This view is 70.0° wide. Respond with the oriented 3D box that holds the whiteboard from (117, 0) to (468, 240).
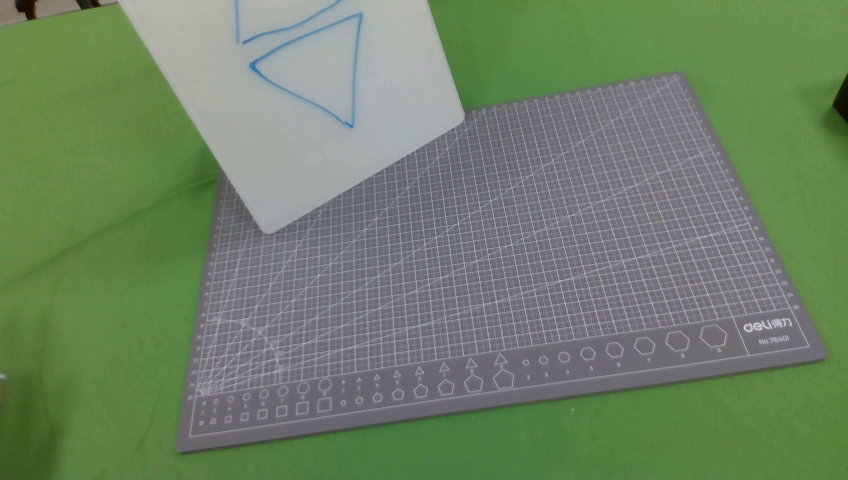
[{"bbox_3d":[-0.127,-0.199,0.517,0.217,0.308,0.142,-32,35,-12],"label":"whiteboard"}]
